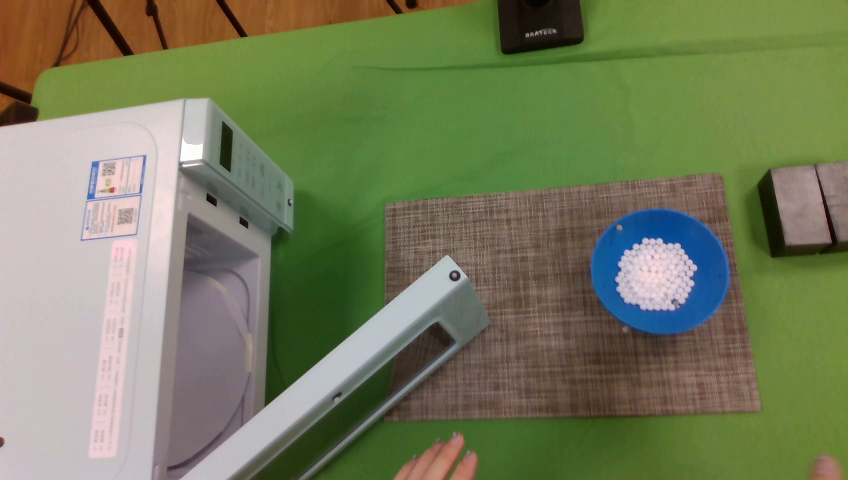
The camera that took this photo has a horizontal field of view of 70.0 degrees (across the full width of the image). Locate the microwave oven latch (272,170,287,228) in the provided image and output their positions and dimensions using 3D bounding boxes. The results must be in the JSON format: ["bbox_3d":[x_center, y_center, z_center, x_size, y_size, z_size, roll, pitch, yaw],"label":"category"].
[{"bbox_3d":[-0.210,-0.059,0.858,0.030,0.030,0.078,-6,73,9],"label":"microwave oven latch"}]

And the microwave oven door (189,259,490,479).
[{"bbox_3d":[-0.084,0.171,0.657,0.356,0.245,0.039,-41,69,-3],"label":"microwave oven door"}]

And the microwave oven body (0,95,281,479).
[{"bbox_3d":[-0.365,0.097,0.738,0.325,0.262,0.439,-6,73,9],"label":"microwave oven body"}]

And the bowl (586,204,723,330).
[{"bbox_3d":[0.270,0.039,0.729,0.151,0.077,0.150,-3,73,10],"label":"bowl"}]
